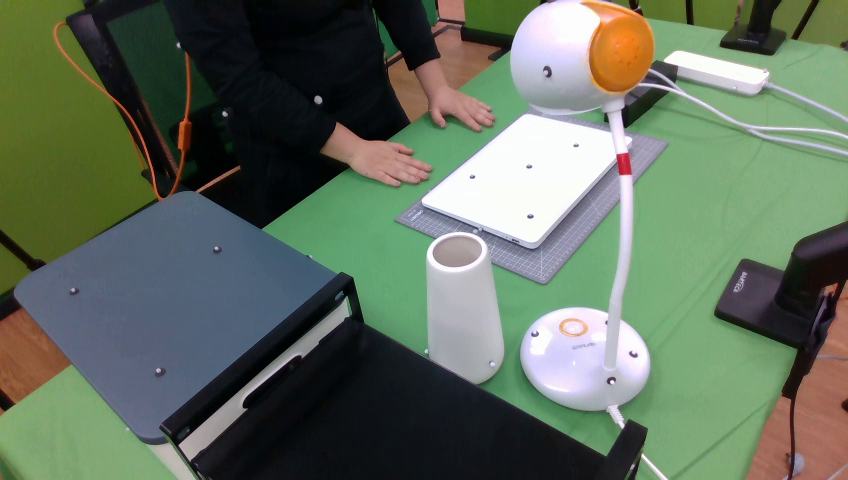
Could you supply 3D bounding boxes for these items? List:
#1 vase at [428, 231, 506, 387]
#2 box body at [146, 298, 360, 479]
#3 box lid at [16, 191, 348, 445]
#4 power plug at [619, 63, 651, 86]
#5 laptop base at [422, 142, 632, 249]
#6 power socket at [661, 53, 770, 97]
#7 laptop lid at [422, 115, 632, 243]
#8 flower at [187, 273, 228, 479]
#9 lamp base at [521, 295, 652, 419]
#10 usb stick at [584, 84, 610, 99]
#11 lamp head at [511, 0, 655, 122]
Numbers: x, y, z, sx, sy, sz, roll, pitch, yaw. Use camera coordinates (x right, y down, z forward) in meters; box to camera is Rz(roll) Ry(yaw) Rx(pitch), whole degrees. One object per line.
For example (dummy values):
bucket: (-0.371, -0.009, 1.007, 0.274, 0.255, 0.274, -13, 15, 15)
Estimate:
vase: (0.050, 0.087, 0.728, 0.098, 0.201, 0.097, -3, 40, 3)
box body: (-0.288, 0.118, 0.772, 0.361, 0.161, 0.255, 26, 50, 33)
box lid: (-0.295, 0.062, 0.723, 0.368, 0.015, 0.264, 26, 51, 34)
power plug: (0.435, -0.341, 1.266, 0.035, 0.053, 0.072, 5, 31, -14)
laptop base: (0.192, -0.117, 1.087, 0.233, 0.023, 0.355, 21, 47, 34)
power socket: (0.617, -0.355, 1.292, 0.225, 0.033, 0.072, 29, 52, 35)
laptop lid: (0.189, -0.126, 1.081, 0.239, 0.013, 0.358, 23, 49, 34)
flower: (-0.282, 0.161, 0.819, 0.044, 0.038, 0.359, 10, 34, -22)
lamp base: (0.200, 0.095, 0.710, 0.161, 0.181, 0.178, -16, 43, -10)
usb stick: (0.353, -0.306, 1.252, 0.027, 0.021, 0.058, 1, -1, -40)
lamp head: (0.155, -0.168, 0.564, 0.113, 0.113, 0.122, -18, 23, -12)
